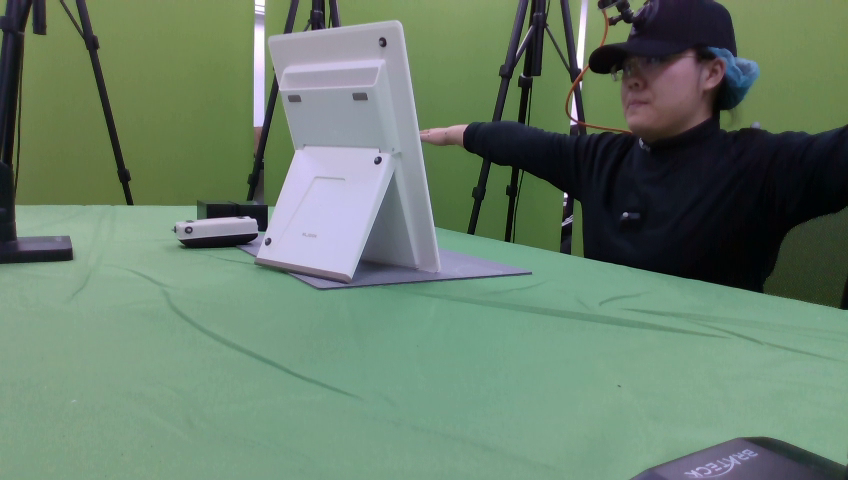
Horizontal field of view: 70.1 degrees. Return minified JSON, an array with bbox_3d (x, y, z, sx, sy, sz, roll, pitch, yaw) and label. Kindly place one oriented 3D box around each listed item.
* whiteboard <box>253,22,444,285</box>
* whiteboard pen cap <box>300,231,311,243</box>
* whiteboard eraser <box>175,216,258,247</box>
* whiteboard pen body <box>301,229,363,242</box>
[{"bbox_3d":[-0.125,-0.081,0.715,0.216,0.305,0.144,9,29,36],"label":"whiteboard"},{"bbox_3d":[-0.189,-0.004,0.965,0.018,0.018,0.033,2,9,-9],"label":"whiteboard pen cap"},{"bbox_3d":[-0.313,-0.013,0.915,0.113,0.042,0.055,-5,12,-30],"label":"whiteboard eraser"},{"bbox_3d":[-0.153,-0.007,1.017,0.017,0.017,0.141,8,9,36],"label":"whiteboard pen body"}]
